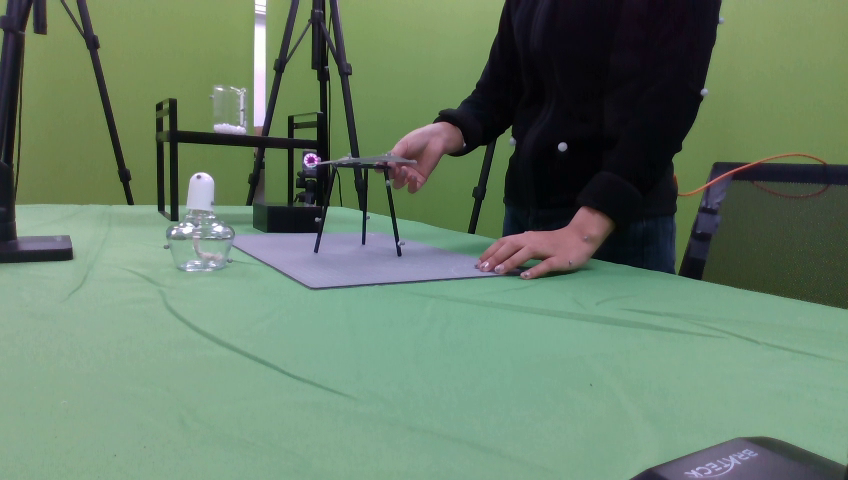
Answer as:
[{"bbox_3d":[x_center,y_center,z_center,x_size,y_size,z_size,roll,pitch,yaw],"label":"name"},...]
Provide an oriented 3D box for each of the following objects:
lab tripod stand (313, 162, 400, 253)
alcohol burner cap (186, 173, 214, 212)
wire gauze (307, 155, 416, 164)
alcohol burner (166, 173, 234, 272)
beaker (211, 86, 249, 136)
[{"bbox_3d":[-0.097,-0.051,0.906,0.148,0.131,0.148,0,6,0],"label":"lab tripod stand"},{"bbox_3d":[-0.268,-0.057,0.730,0.034,0.048,0.034,5,1,0],"label":"alcohol burner cap"},{"bbox_3d":[-0.090,-0.119,0.895,0.121,0.011,0.125,1,8,20],"label":"wire gauze"},{"bbox_3d":[-0.271,-0.022,0.735,0.078,0.119,0.078,2,5,0],"label":"alcohol burner"},{"bbox_3d":[-0.413,-0.274,1.297,0.074,0.100,0.083,-5,11,-44],"label":"beaker"}]
